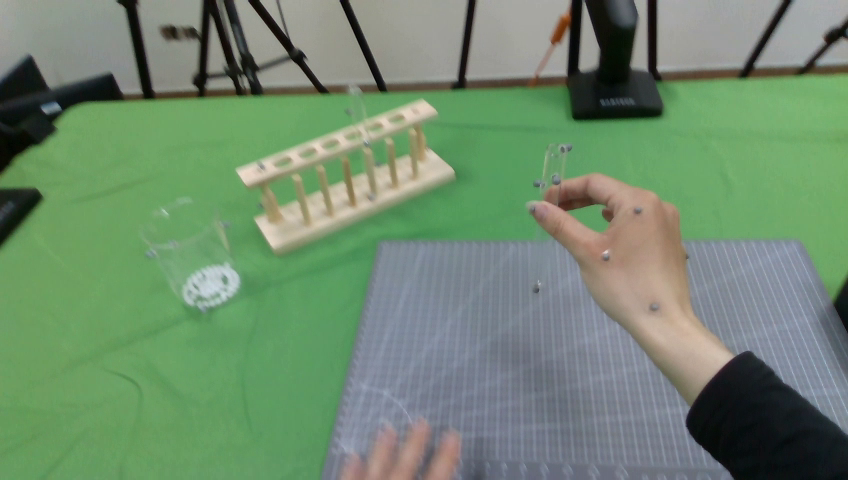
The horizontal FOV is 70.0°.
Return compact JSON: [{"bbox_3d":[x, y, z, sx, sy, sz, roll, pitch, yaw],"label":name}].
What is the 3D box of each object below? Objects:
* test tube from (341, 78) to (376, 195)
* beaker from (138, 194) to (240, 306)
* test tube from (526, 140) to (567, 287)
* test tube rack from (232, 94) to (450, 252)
[{"bbox_3d":[-0.072,-0.112,0.681,0.017,0.152,0.017,-4,43,4],"label":"test tube"},{"bbox_3d":[-0.240,0.012,0.627,0.083,0.101,0.074,31,55,34],"label":"beaker"},{"bbox_3d":[0.095,-0.015,0.483,0.017,0.151,0.017,-1,45,1],"label":"test tube"},{"bbox_3d":[-0.090,-0.084,0.719,0.242,0.086,0.066,-26,47,-19],"label":"test tube rack"}]
